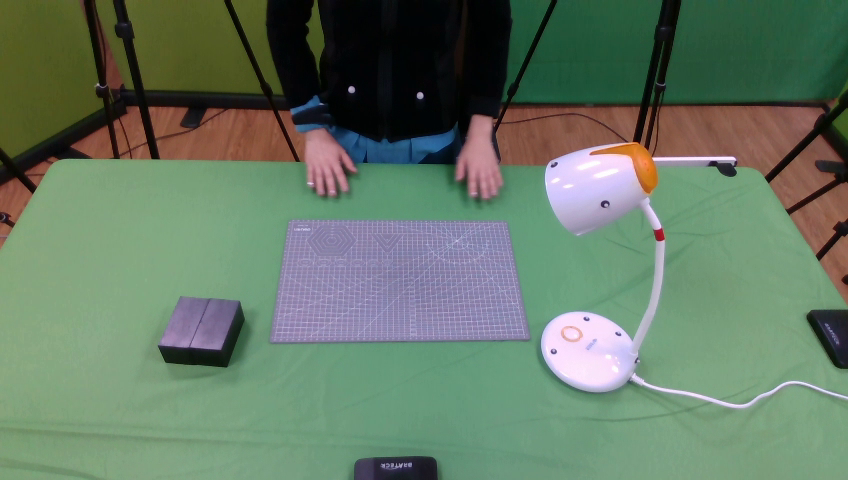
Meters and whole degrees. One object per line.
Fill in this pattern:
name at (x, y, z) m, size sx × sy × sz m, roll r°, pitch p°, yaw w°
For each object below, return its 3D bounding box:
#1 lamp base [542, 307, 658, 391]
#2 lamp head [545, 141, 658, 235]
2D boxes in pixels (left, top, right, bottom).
lamp base at (0.296, 0.138, 0.975) m, size 0.178 × 0.181 × 0.160 m, roll 28°, pitch 51°, yaw 18°
lamp head at (0.237, -0.072, 0.784) m, size 0.123 × 0.113 × 0.112 m, roll -16°, pitch 33°, yaw 37°
